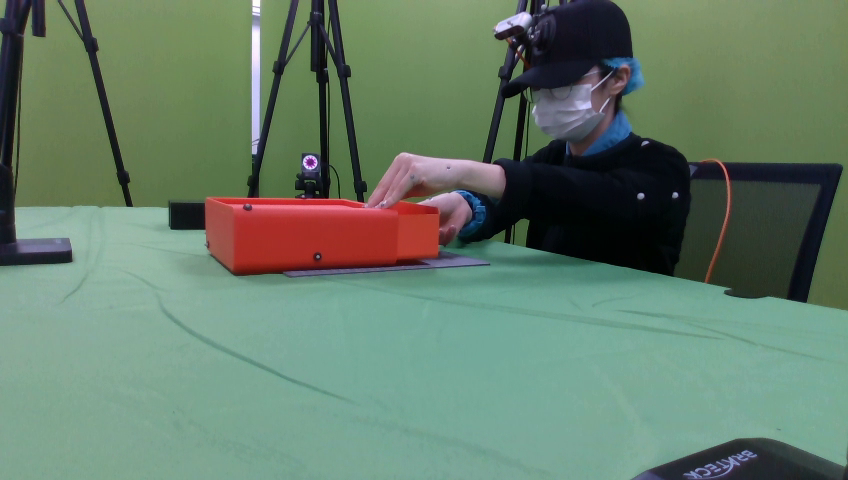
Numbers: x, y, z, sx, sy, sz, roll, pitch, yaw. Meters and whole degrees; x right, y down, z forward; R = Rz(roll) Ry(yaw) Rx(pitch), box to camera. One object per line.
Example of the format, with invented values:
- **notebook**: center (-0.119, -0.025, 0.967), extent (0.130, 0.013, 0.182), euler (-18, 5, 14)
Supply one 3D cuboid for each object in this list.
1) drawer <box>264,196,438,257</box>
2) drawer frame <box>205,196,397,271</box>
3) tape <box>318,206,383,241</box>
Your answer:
- **drawer**: center (-0.114, -0.020, 0.858), extent (0.213, 0.073, 0.193), euler (-3, 10, -27)
- **drawer frame**: center (-0.172, -0.016, 0.829), extent (0.215, 0.082, 0.200), euler (-3, 9, -29)
- **tape**: center (-0.129, -0.030, 1.075), extent (0.117, 0.052, 0.117), euler (3, 8, 0)
